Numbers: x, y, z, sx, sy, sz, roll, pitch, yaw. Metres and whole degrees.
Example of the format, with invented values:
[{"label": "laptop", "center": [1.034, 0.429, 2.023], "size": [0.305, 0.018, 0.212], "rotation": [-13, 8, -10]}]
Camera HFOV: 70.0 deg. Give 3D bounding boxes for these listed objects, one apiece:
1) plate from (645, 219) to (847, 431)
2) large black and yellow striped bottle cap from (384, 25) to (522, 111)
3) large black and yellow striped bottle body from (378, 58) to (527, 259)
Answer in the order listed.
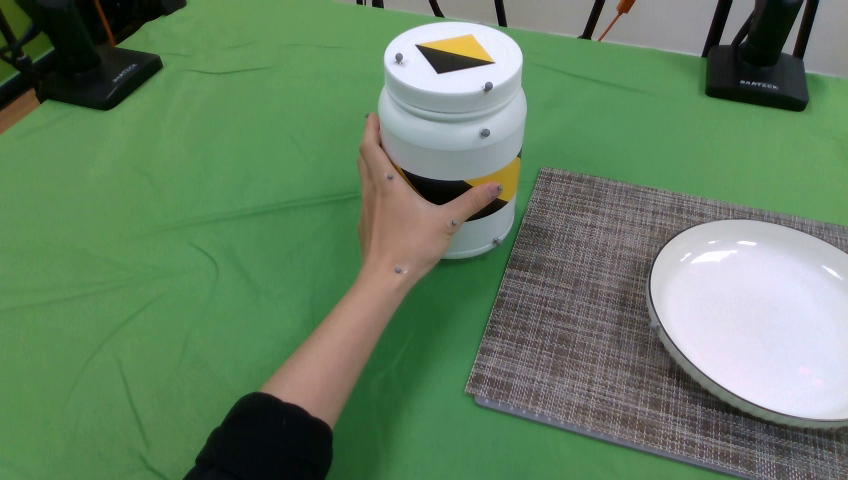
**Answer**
[{"label": "plate", "center": [0.290, 0.067, 0.510], "size": [0.208, 0.039, 0.205], "rotation": [0, 46, 1]}, {"label": "large black and yellow striped bottle cap", "center": [0.024, -0.145, 0.502], "size": [0.115, 0.019, 0.114], "rotation": [1, 46, 0]}, {"label": "large black and yellow striped bottle body", "center": [0.026, -0.087, 0.563], "size": [0.131, 0.185, 0.129], "rotation": [0, 47, 1]}]
